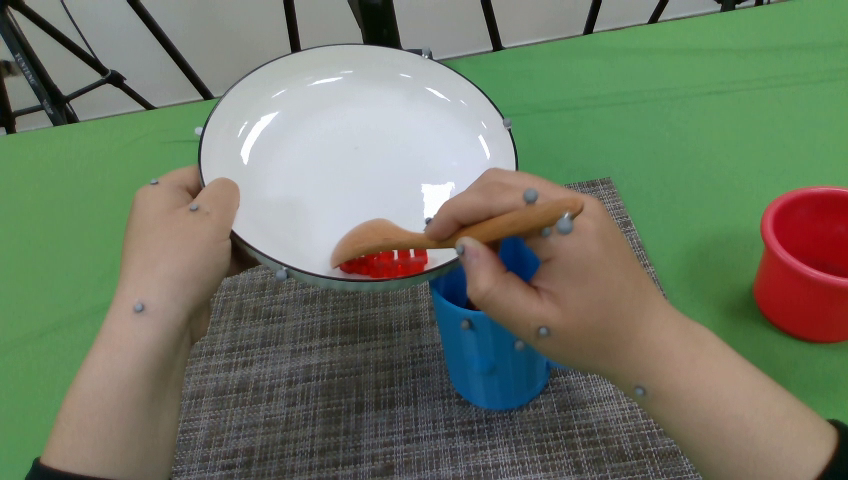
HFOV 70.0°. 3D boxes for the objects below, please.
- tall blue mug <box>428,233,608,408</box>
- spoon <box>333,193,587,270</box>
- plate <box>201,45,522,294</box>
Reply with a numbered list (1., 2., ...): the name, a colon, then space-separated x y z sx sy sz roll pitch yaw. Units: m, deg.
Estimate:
1. tall blue mug: 0.062 0.051 0.416 0.107 0.109 0.077 -14 43 -1
2. spoon: 0.006 -0.003 0.300 0.041 0.022 0.193 -43 21 -31
3. plate: -0.039 -0.050 0.411 0.208 0.039 0.205 3 56 -5
